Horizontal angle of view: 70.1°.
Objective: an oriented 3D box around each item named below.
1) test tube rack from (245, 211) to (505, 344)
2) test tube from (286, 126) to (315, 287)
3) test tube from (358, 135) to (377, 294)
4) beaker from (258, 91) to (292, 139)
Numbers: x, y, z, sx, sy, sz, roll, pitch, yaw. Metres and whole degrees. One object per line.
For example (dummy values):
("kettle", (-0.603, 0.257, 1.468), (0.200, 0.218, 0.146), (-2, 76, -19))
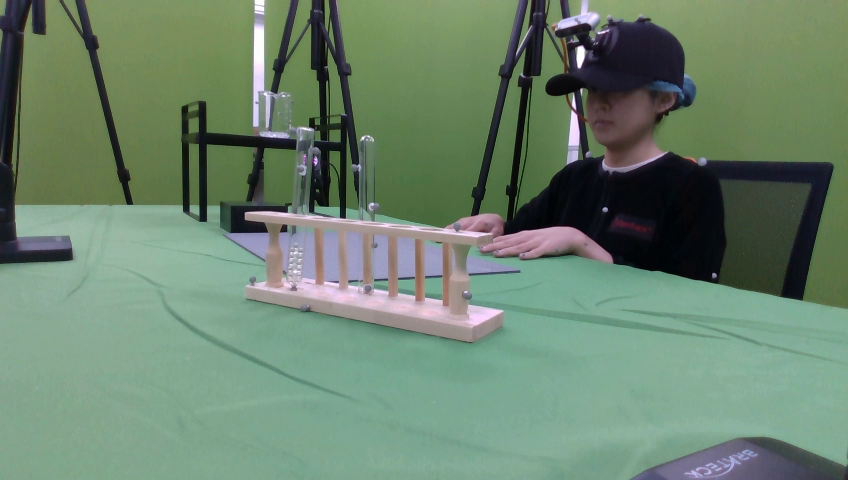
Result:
("test tube rack", (-0.049, 0.025, 0.547), (0.241, 0.085, 0.067), (7, 8, 28))
("test tube", (-0.115, -0.030, 0.560), (0.017, 0.150, 0.017), (6, 8, -1))
("test tube", (-0.053, -0.022, 0.565), (0.017, 0.150, 0.017), (2, 6, 0))
("beaker", (-0.331, -0.276, 1.343), (0.074, 0.100, 0.083), (0, 8, -20))
